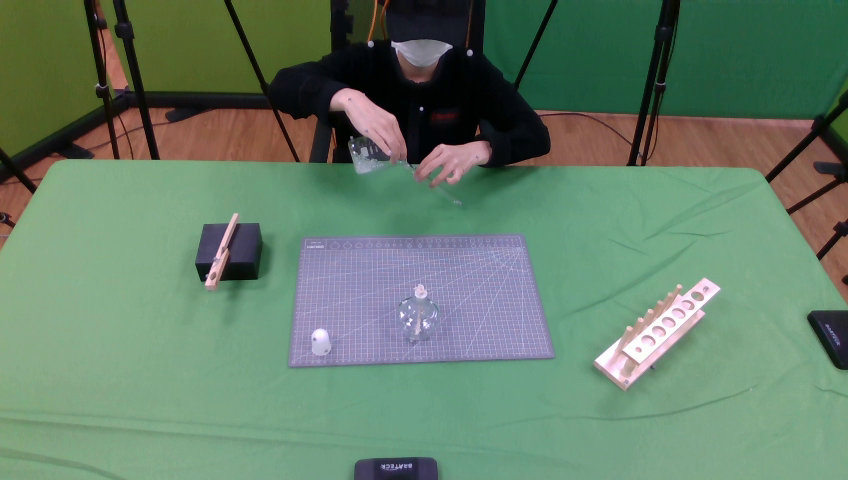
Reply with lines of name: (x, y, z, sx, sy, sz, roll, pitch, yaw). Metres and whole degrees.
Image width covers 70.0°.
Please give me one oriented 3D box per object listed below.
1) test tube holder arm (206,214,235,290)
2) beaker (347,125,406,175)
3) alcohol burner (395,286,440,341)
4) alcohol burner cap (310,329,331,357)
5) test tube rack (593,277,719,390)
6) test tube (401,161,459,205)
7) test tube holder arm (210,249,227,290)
test tube holder arm: (-0.364, 0.017, 1.090, 0.013, 0.015, 0.177, 7, 45, -8)
beaker: (-0.091, -0.167, 1.155, 0.100, 0.084, 0.073, -15, 31, -6)
alcohol burner: (-0.010, 0.116, 1.018, 0.078, 0.119, 0.077, 3, 47, -3)
alcohol burner cap: (-0.173, 0.168, 1.005, 0.034, 0.048, 0.033, 2, 46, -2)
test tube rack: (0.401, 0.148, 1.043, 0.242, 0.085, 0.066, -30, 55, -29)
test tube: (0.014, -0.112, 1.215, 0.151, 0.017, 0.017, 33, 37, -29)
test tube holder arm: (-0.359, 0.050, 1.059, 0.010, 0.015, 0.087, 8, 45, -7)
